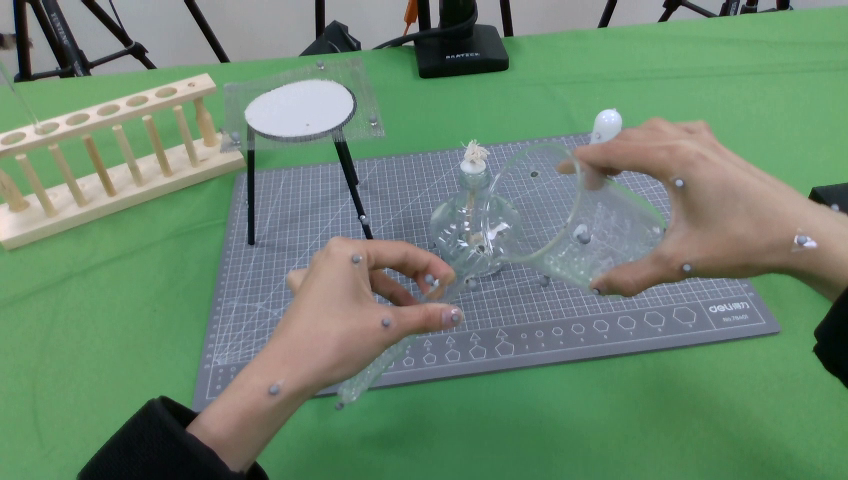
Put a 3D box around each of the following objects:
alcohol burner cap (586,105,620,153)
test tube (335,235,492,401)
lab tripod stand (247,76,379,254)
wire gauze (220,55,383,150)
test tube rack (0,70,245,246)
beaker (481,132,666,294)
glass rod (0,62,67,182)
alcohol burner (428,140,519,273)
[{"bbox_3d":[0.191,-0.120,0.642,0.034,0.048,0.033,-2,43,2],"label":"alcohol burner cap"},{"bbox_3d":[-0.011,0.053,0.385,0.017,0.150,0.017,35,22,-16],"label":"test tube"},{"bbox_3d":[-0.099,-0.064,0.537,0.148,0.133,0.147,-3,45,3],"label":"lab tripod stand"},{"bbox_3d":[-0.103,-0.113,0.491,0.125,0.011,0.120,-11,44,-6],"label":"wire gauze"},{"bbox_3d":[-0.320,-0.089,0.620,0.243,0.086,0.066,-24,46,-20],"label":"test tube rack"},{"bbox_3d":[0.094,-0.009,0.377,0.101,0.084,0.073,22,21,-36],"label":"beaker"},{"bbox_3d":[-0.372,-0.123,0.562,0.008,0.201,0.008,-1,47,2],"label":"glass rod"},{"bbox_3d":[0.041,-0.030,0.505,0.078,0.120,0.077,-2,41,3],"label":"alcohol burner"}]
